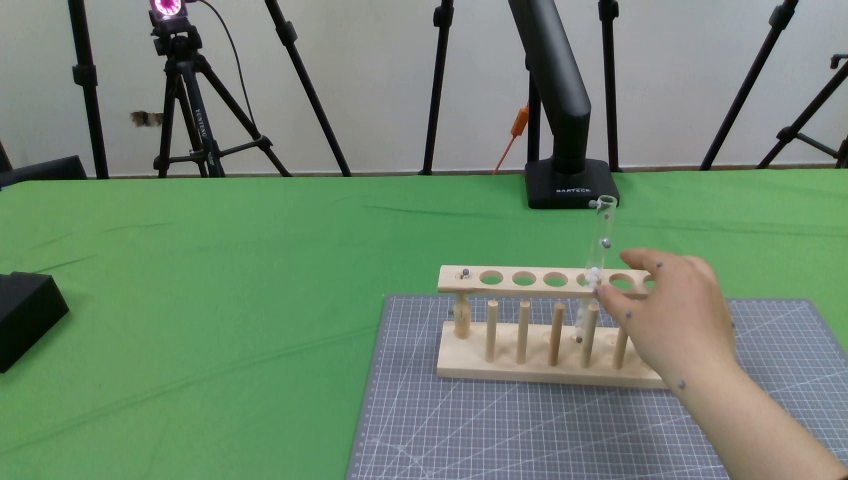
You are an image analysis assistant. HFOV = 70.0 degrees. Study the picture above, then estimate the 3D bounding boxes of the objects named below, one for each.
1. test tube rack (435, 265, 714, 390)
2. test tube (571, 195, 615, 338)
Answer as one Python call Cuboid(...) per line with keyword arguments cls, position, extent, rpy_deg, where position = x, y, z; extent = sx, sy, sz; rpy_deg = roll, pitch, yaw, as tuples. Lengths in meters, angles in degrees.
Cuboid(cls="test tube rack", position=(0.132, 0.079, 0.559), extent=(0.242, 0.086, 0.066), rpy_deg=(1, 35, 7))
Cuboid(cls="test tube", position=(0.150, 0.028, 0.544), extent=(0.017, 0.151, 0.017), rpy_deg=(1, 32, 0))
